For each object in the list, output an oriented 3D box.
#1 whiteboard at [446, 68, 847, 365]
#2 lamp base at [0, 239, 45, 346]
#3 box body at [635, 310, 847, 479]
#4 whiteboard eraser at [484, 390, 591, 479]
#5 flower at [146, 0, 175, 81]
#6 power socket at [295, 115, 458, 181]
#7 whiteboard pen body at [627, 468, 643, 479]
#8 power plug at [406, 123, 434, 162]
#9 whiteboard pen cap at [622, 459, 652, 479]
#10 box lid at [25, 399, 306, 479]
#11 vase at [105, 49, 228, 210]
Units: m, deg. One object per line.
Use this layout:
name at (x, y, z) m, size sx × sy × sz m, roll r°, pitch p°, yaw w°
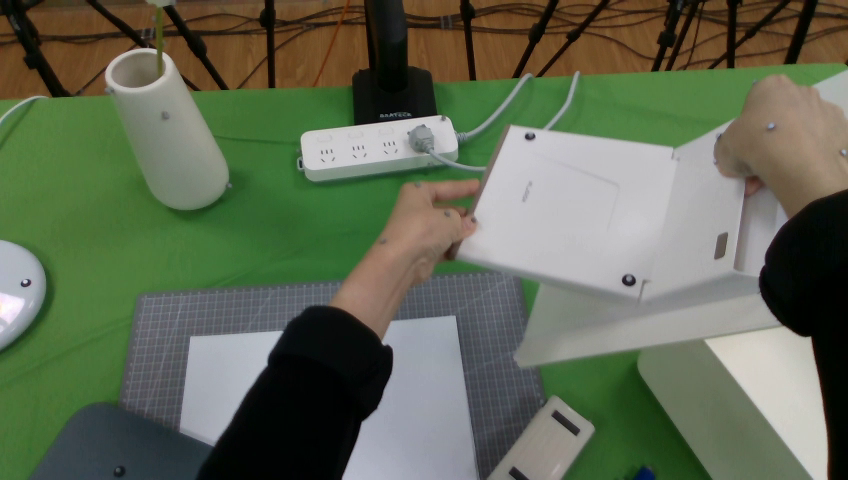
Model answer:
whiteboard at (0.154, -0.042, 0.495) m, size 0.145 × 0.305 × 0.216 m, roll 37°, pitch 58°, yaw -18°
lamp base at (-0.525, 0.019, 0.625) m, size 0.178 × 0.182 × 0.160 m, roll 24°, pitch 59°, yaw 17°
box body at (0.408, 0.174, 0.568) m, size 0.254 × 0.162 × 0.360 m, roll -22°, pitch 60°, yaw -16°
whiteboard eraser at (0.114, 0.209, 0.604) m, size 0.055 × 0.042 × 0.112 m, roll 36°, pitch 63°, yaw 20°
flower at (-0.279, -0.163, 0.644) m, size 0.038 × 0.363 × 0.044 m, roll 43°, pitch 55°, yaw 4°
power socket at (-0.063, -0.126, 0.825) m, size 0.227 × 0.033 × 0.071 m, roll -8°, pitch 58°, yaw -8°
whiteboard pen body at (0.171, 0.272, 0.584) m, size 0.017 × 0.017 × 0.140 m, roll 40°, pitch 64°, yaw 22°
power plug at (-0.006, -0.122, 0.798) m, size 0.035 × 0.053 × 0.072 m, roll 0°, pitch 63°, yaw -2°
whiteboard pen cap at (0.212, 0.237, 0.607) m, size 0.018 × 0.018 × 0.033 m, roll 40°, pitch 65°, yaw 22°
box lid at (-0.229, 0.316, 0.543) m, size 0.370 × 0.015 × 0.261 m, roll 18°, pitch 58°, yaw 9°
vase at (-0.302, -0.124, 0.715) m, size 0.098 × 0.201 × 0.097 m, roll 0°, pitch 56°, yaw 0°
